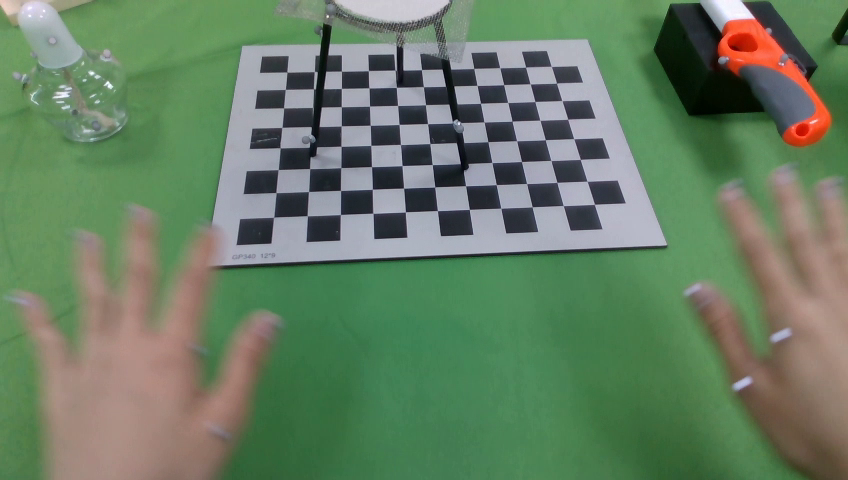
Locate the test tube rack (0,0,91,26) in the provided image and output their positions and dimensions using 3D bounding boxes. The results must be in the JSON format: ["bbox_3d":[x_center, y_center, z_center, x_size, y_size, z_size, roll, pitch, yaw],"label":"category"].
[{"bbox_3d":[-0.331,-0.314,0.625,0.242,0.086,0.066,-32,61,-23],"label":"test tube rack"}]

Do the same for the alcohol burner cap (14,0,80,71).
[{"bbox_3d":[-0.283,-0.154,0.450,0.034,0.048,0.033,-1,54,1],"label":"alcohol burner cap"}]

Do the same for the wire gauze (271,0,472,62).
[{"bbox_3d":[-0.025,-0.171,0.412,0.125,0.011,0.120,12,53,5],"label":"wire gauze"}]

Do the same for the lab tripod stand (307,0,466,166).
[{"bbox_3d":[-0.024,-0.133,0.468,0.148,0.132,0.147,2,52,-3],"label":"lab tripod stand"}]

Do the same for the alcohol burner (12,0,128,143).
[{"bbox_3d":[-0.282,-0.136,0.475,0.078,0.120,0.077,0,54,0],"label":"alcohol burner"}]

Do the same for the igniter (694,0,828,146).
[{"bbox_3d":[0.274,-0.179,0.528,0.057,0.025,0.273,-5,52,-2],"label":"igniter"}]
